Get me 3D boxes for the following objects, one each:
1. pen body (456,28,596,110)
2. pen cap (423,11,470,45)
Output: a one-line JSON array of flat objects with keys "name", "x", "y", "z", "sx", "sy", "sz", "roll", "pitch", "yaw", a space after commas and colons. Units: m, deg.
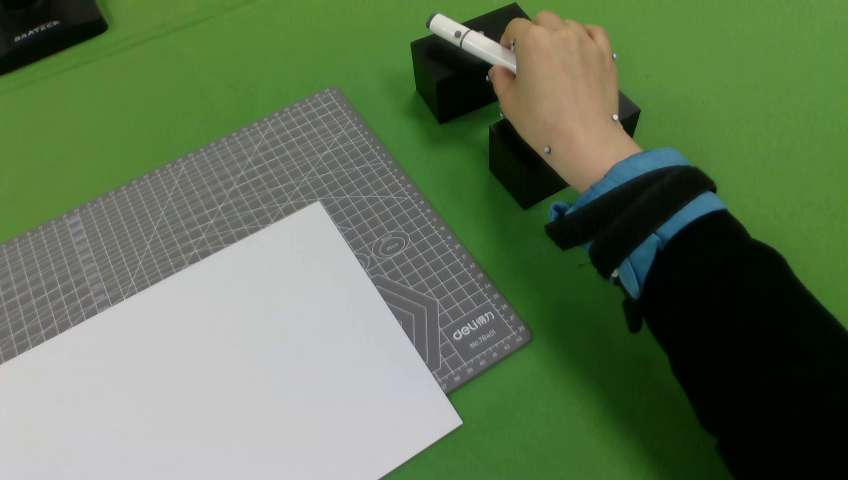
[{"name": "pen body", "x": 0.064, "y": -0.134, "z": 0.455, "sx": 0.143, "sy": 0.017, "sz": 0.017, "roll": 35, "pitch": 68, "yaw": 23}, {"name": "pen cap", "x": 0.017, "y": -0.168, "z": 0.478, "sx": 0.038, "sy": 0.017, "sz": 0.017, "roll": 35, "pitch": 67, "yaw": 23}]
